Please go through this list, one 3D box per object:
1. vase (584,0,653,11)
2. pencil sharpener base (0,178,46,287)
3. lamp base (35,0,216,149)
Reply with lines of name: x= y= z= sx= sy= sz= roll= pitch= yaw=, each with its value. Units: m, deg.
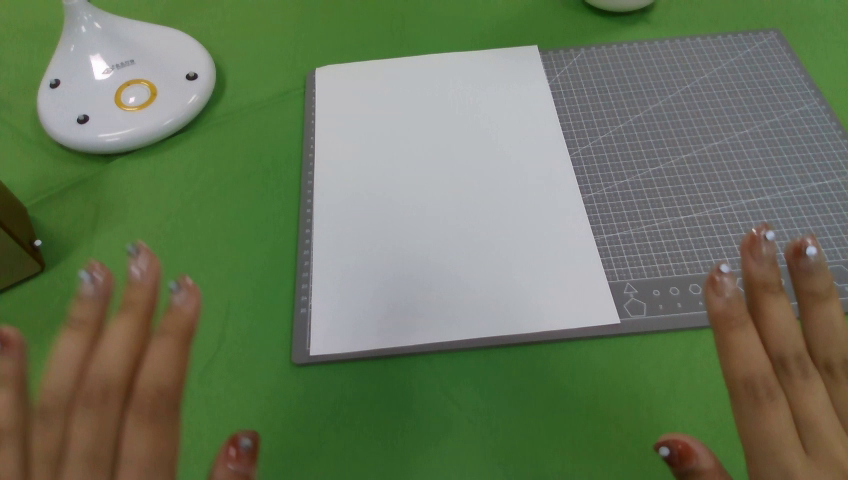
vase: x=0.188 y=-0.312 z=0.542 sx=0.098 sy=0.202 sz=0.097 roll=-2 pitch=54 yaw=4
pencil sharpener base: x=-0.334 y=-0.021 z=0.429 sx=0.061 sy=0.108 sz=0.076 roll=-29 pitch=58 yaw=-15
lamp base: x=-0.286 y=-0.195 z=0.501 sx=0.160 sy=0.182 sz=0.177 roll=-39 pitch=59 yaw=-21
